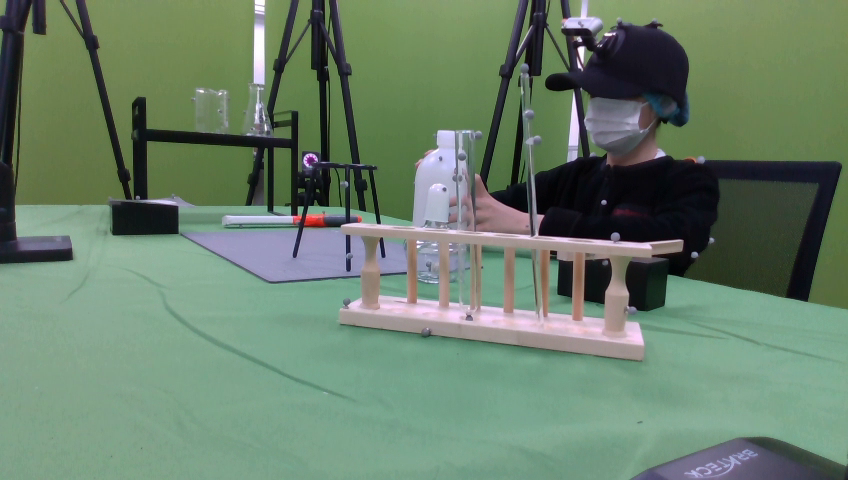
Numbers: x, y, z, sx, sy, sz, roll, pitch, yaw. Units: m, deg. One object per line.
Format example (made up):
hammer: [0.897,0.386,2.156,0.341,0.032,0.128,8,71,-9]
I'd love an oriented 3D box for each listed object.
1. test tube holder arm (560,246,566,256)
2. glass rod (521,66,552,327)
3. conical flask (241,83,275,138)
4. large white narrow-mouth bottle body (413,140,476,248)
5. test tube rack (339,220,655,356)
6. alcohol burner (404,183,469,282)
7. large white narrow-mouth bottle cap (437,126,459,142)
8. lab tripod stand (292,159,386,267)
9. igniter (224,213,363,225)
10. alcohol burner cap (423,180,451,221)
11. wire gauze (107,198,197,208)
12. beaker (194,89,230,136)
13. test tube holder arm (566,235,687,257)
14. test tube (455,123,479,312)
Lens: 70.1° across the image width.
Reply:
test tube holder arm: [0.173,0.007,0.611,0.088,0.015,0.010,-3,9,-30]
glass rod: [0.085,-0.028,0.454,0.008,0.199,0.008,-7,10,2]
conical flask: [-0.383,-0.297,1.392,0.075,0.122,0.075,2,7,0]
large white narrow-mouth bottle body: [0.036,-0.089,1.007,0.102,0.194,0.102,4,8,0]
test tube rack: [0.056,0.032,0.495,0.242,0.085,0.067,4,7,15]
alcohol burner: [0.015,-0.011,0.715,0.078,0.119,0.078,0,7,0]
large white narrow-mouth bottle cap: [0.041,-0.174,0.994,0.038,0.024,0.037,4,8,0]
lab tripod stand: [-0.105,-0.039,0.798,0.148,0.131,0.148,2,5,0]
igniter: [-0.255,-0.041,1.210,0.278,0.025,0.057,-2,-2,-31]
alcohol burner cap: [0.017,-0.047,0.711,0.034,0.048,0.034,8,5,0]
wire gauze: [-0.462,-0.064,1.023,0.126,0.011,0.121,-2,7,-32]
beaker: [-0.472,-0.283,1.352,0.074,0.100,0.083,-4,10,-35]
test tube holder arm: [0.215,0.006,0.629,0.179,0.015,0.013,-3,9,-30]
test tube: [0.034,-0.016,0.476,0.017,0.150,0.017,-2,10,1]
